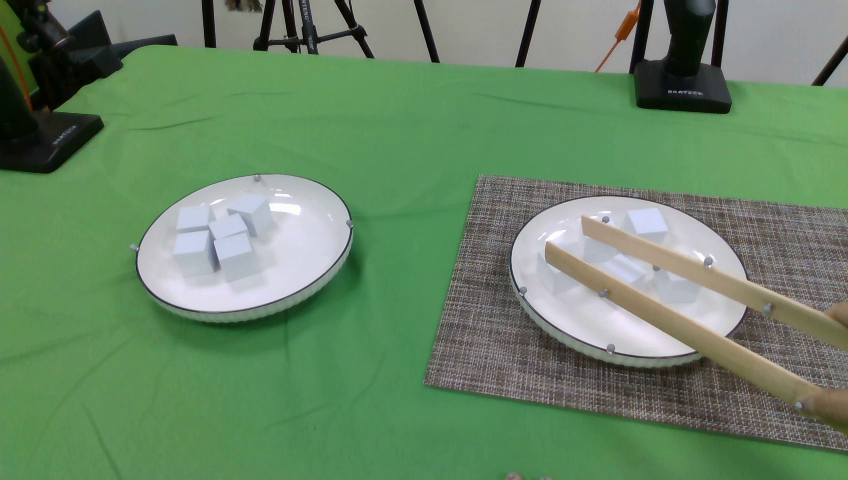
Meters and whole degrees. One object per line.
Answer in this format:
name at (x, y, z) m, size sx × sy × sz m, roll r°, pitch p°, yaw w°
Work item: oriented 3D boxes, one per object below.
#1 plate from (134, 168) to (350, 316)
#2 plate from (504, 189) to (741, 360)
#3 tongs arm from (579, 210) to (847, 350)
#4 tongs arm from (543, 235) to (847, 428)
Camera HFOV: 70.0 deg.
plate at (-0.177, 0.002, 0.610) m, size 0.209 × 0.038 × 0.207 m, roll -1°, pitch 42°, yaw 1°
plate at (0.177, 0.030, 0.559) m, size 0.208 × 0.039 × 0.205 m, roll -1°, pitch 43°, yaw 1°
tongs arm at (0.255, 0.063, 0.417) m, size 0.051 × 0.027 × 0.381 m, roll -36°, pitch 44°, yaw -28°
tongs arm at (0.232, 0.079, 0.405) m, size 0.028 × 0.028 × 0.383 m, roll -31°, pitch 42°, yaw -29°
